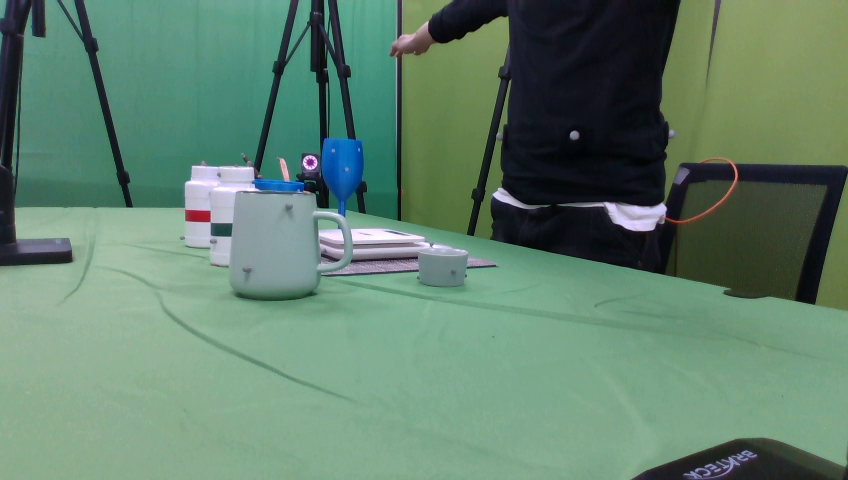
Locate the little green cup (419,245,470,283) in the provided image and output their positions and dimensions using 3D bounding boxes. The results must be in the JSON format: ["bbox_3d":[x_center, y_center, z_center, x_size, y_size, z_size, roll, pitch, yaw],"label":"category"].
[{"bbox_3d":[0.023,0.028,0.713,0.061,0.038,0.061,1,6,0],"label":"little green cup"}]

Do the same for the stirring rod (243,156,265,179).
[{"bbox_3d":[-0.304,-0.099,1.201,0.006,0.177,0.014,-26,37,8],"label":"stirring rod"}]

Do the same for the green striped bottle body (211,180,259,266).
[{"bbox_3d":[-0.243,-0.029,0.784,0.063,0.119,0.063,2,7,0],"label":"green striped bottle body"}]

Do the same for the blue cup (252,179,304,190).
[{"bbox_3d":[-0.230,-0.041,0.929,0.093,0.100,0.092,4,7,0],"label":"blue cup"}]

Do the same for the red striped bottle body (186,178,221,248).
[{"bbox_3d":[-0.331,-0.050,0.927,0.063,0.119,0.063,2,7,0],"label":"red striped bottle body"}]

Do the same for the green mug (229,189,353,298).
[{"bbox_3d":[-0.135,0.002,0.618,0.125,0.105,0.092,2,7,4],"label":"green mug"}]

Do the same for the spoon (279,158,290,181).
[{"bbox_3d":[-0.280,-0.102,1.251,0.042,0.193,0.021,7,-40,-30],"label":"spoon"}]

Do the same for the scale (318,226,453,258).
[{"bbox_3d":[-0.067,0.001,0.906,0.202,0.031,0.148,-2,8,-31],"label":"scale"}]

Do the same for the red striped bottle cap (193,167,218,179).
[{"bbox_3d":[-0.329,-0.102,0.921,0.044,0.017,0.044,1,9,0],"label":"red striped bottle cap"}]

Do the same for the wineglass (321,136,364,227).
[{"bbox_3d":[-0.138,-0.086,1.020,0.074,0.172,0.073,2,7,0],"label":"wineglass"}]

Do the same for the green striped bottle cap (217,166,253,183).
[{"bbox_3d":[-0.242,-0.085,0.777,0.044,0.020,0.044,2,9,0],"label":"green striped bottle cap"}]
